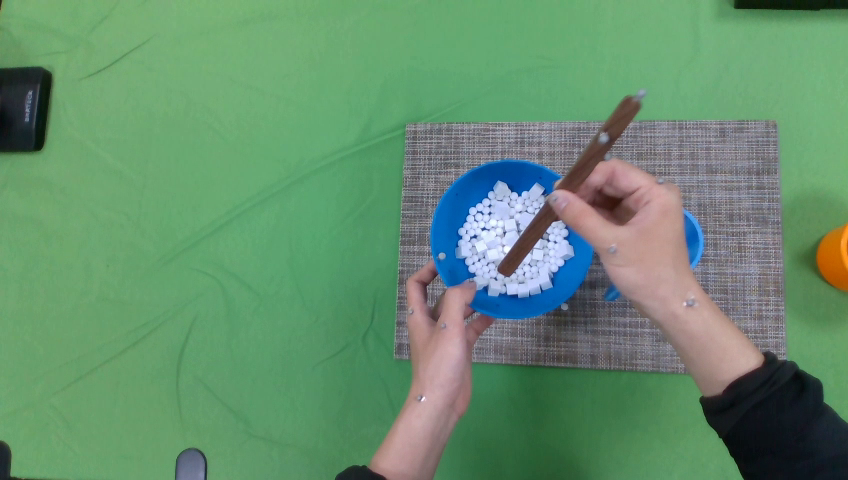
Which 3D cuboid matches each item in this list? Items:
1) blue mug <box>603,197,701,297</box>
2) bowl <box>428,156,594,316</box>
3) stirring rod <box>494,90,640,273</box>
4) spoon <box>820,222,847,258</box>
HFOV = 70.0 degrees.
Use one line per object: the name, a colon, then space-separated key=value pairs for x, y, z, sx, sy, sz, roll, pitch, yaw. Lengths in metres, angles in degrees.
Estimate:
blue mug: x=0.237 y=0.017 z=0.669 sx=0.082 sy=0.106 sz=0.116 roll=39 pitch=89 yaw=12
bowl: x=0.080 y=0.002 z=0.586 sx=0.151 sy=0.077 sz=0.150 roll=0 pitch=80 yaw=1
stirring rod: x=0.101 y=-0.036 z=0.451 sx=0.014 sy=0.006 sz=0.177 roll=26 pitch=126 yaw=-9
spoon: x=0.512 y=0.011 z=0.616 sx=0.022 sy=0.192 sz=0.041 roll=27 pitch=83 yaw=-34
